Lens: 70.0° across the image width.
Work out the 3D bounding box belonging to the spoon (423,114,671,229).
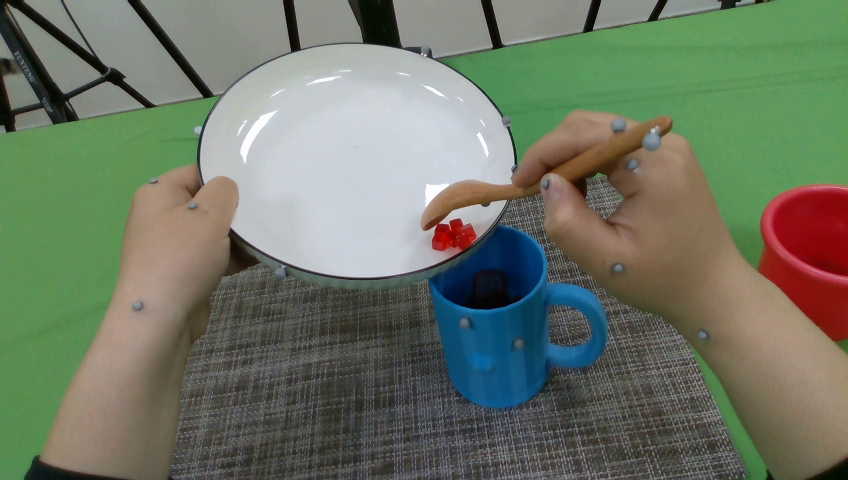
[{"bbox_3d":[0.050,-0.030,0.309,0.041,0.022,0.193,-37,12,-27],"label":"spoon"}]

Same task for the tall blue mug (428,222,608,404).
[{"bbox_3d":[0.062,0.049,0.416,0.107,0.109,0.077,-14,43,-1],"label":"tall blue mug"}]

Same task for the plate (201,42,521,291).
[{"bbox_3d":[-0.040,-0.052,0.411,0.208,0.039,0.205,3,56,-4],"label":"plate"}]
